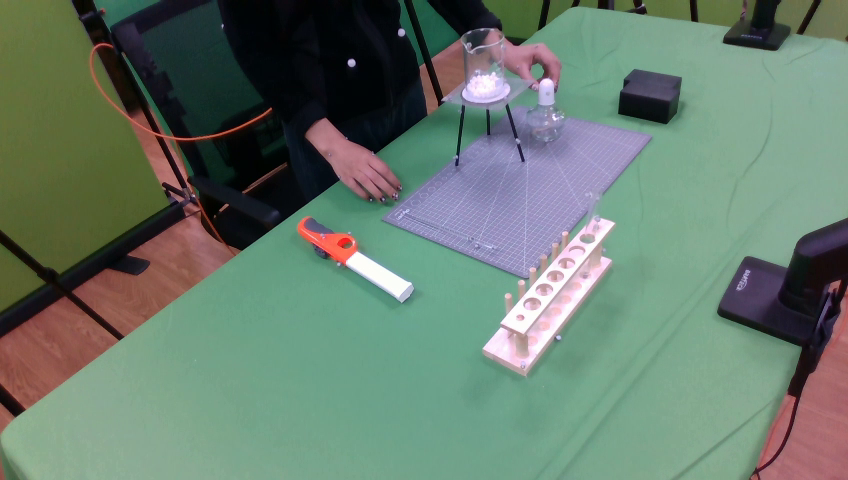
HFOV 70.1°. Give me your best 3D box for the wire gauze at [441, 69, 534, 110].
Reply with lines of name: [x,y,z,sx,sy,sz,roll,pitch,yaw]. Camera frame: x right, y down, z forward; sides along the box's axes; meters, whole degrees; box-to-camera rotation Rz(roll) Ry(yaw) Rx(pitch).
wire gauze: [0.114,-0.268,1.082,0.120,0.011,0.125,22,47,29]

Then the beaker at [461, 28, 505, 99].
beaker: [0.103,-0.304,1.051,0.073,0.101,0.084,19,48,29]

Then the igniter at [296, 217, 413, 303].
igniter: [-0.121,0.025,0.970,0.274,0.025,0.057,30,63,37]

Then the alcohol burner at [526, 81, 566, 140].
alcohol burner: [0.234,-0.252,1.159,0.078,0.119,0.077,-4,42,4]

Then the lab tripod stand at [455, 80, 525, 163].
lab tripod stand: [0.120,-0.220,1.126,0.148,0.132,0.147,-4,39,4]

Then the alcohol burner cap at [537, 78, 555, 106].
alcohol burner cap: [0.229,-0.279,1.136,0.034,0.048,0.033,-5,33,4]

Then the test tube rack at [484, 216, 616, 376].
test tube rack: [0.174,0.064,0.823,0.066,0.085,0.243,23,49,32]

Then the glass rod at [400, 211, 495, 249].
glass rod: [0.035,-0.018,1.001,0.198,0.008,0.008,21,49,35]

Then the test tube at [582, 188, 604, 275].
test tube: [0.228,-0.007,0.821,0.017,0.151,0.017,-3,42,3]
